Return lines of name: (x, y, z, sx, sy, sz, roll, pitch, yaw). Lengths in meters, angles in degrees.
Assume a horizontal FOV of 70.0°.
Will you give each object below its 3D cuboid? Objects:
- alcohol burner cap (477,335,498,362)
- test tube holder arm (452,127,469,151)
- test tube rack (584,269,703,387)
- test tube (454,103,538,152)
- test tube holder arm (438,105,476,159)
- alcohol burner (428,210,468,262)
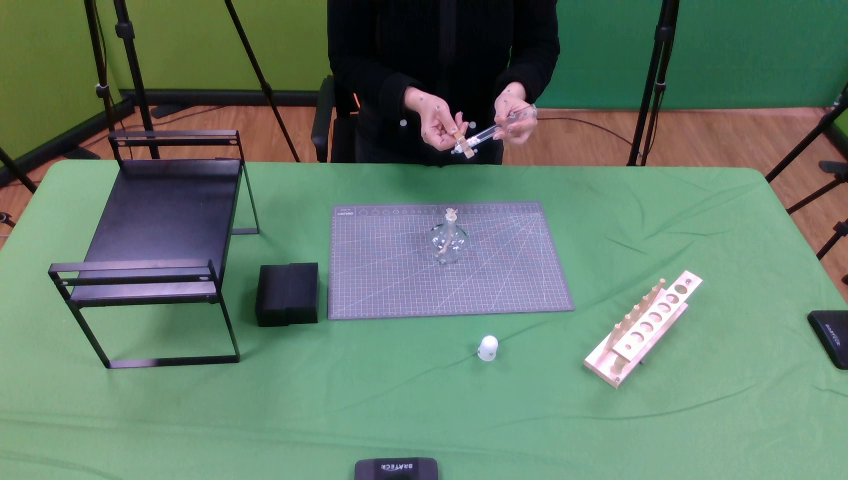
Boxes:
alcohol burner cap: (0.108, 0.180, 1.017, 0.034, 0.048, 0.033, 3, 51, -4)
test tube holder arm: (0.060, -0.171, 1.021, 0.015, 0.010, 0.087, -40, 24, 14)
test tube rack: (0.381, 0.139, 1.046, 0.066, 0.085, 0.242, 37, 54, 28)
test tube: (0.117, -0.184, 0.999, 0.150, 0.017, 0.017, -27, 48, 8)
test tube holder arm: (0.055, -0.192, 1.060, 0.015, 0.013, 0.177, -39, 38, 13)
alcohol burner: (0.048, -0.014, 1.146, 0.078, 0.119, 0.077, 3, 48, -3)
